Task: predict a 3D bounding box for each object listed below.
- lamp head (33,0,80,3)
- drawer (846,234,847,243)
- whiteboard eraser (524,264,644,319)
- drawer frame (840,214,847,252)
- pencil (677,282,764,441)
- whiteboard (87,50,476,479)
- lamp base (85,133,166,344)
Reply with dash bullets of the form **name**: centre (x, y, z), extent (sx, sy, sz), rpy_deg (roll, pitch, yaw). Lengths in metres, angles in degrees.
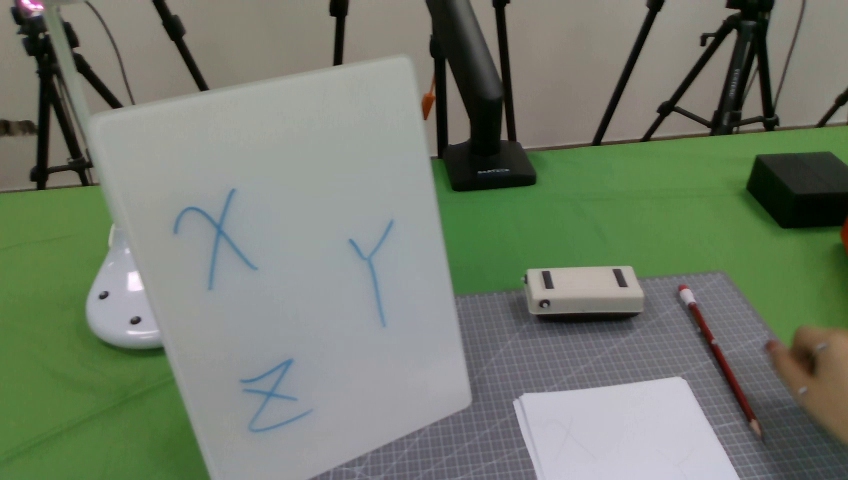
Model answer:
- **lamp head**: centre (-0.272, -0.241, 0.413), extent (0.112, 0.113, 0.122), rpy_deg (-31, 69, -34)
- **drawer**: centre (0.552, 0.043, 0.589), extent (0.194, 0.074, 0.210), rpy_deg (8, 36, 15)
- **whiteboard eraser**: centre (0.162, 0.053, 0.621), extent (0.113, 0.042, 0.055), rpy_deg (-1, 37, 1)
- **drawer frame**: centre (0.551, 0.040, 0.592), extent (0.201, 0.083, 0.212), rpy_deg (8, 36, 14)
- **pencil**: centre (0.277, 0.106, 0.572), extent (0.012, 0.012, 0.192), rpy_deg (-2, 38, 0)
- **whiteboard**: centre (-0.105, 0.021, 0.505), extent (0.218, 0.307, 0.142), rpy_deg (-18, 20, -20)
- **lamp base**: centre (-0.289, -0.013, 0.617), extent (0.178, 0.182, 0.160), rpy_deg (20, 41, 30)
